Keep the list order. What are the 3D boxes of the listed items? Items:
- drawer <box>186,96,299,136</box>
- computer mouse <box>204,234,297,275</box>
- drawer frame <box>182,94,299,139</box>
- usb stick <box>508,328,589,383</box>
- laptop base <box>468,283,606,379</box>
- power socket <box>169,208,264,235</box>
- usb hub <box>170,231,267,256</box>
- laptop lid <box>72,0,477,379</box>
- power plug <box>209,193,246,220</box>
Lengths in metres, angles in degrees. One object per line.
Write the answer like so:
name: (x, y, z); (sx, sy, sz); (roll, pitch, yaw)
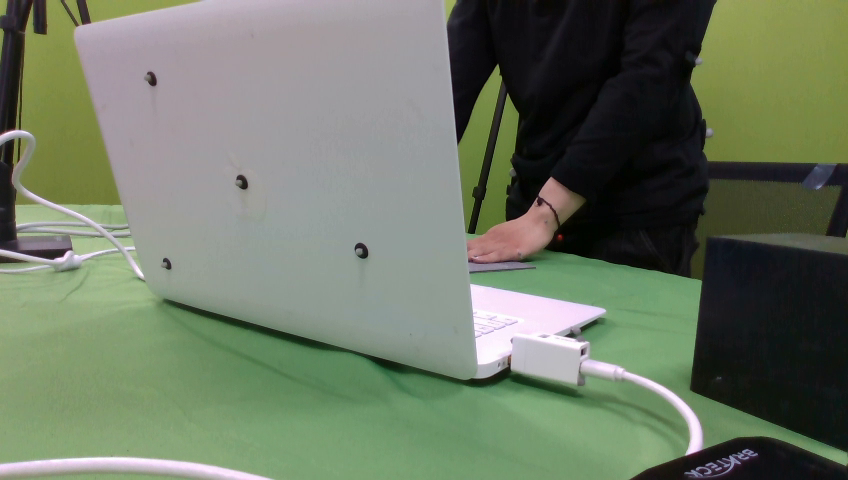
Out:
drawer: (-0.415, -0.274, 1.370); (0.195, 0.073, 0.210); (-4, 9, -35)
computer mouse: (-0.212, 0.016, 0.747); (0.062, 0.041, 0.117); (7, 12, 22)
drawer frame: (-0.418, -0.276, 1.371); (0.203, 0.082, 0.212); (-4, 9, -36)
usb stick: (0.072, 0.071, 0.383); (0.059, 0.027, 0.021); (2, 2, 34)
laptop base: (-0.042, 0.058, 0.554); (0.352, 0.023, 0.237); (7, 7, 35)
power socket: (-0.381, -0.038, 1.128); (0.072, 0.032, 0.227); (4, 8, 16)
usb hub: (-0.290, 0.004, 0.862); (0.049, 0.025, 0.126); (10, 11, 42)
laptop lid: (-0.125, -0.042, 0.418); (0.355, 0.241, 0.013); (9, 25, 34)
power plug: (-0.388, -0.067, 1.205); (0.072, 0.052, 0.035); (3, 8, 26)
